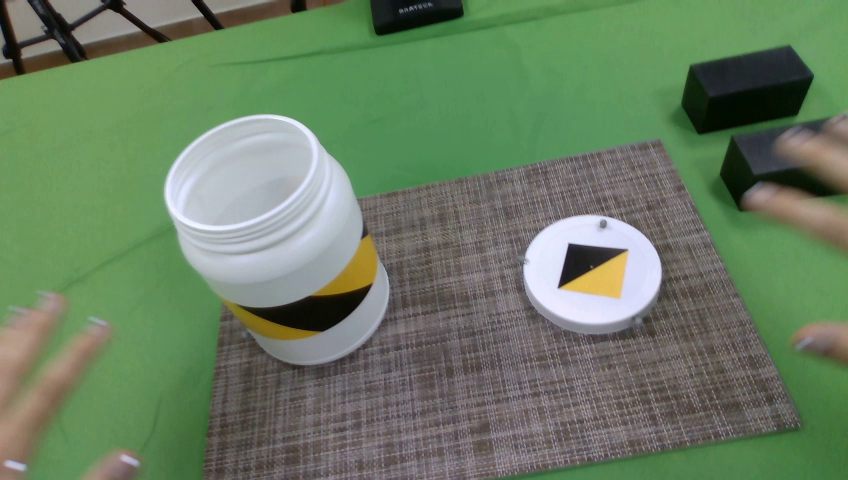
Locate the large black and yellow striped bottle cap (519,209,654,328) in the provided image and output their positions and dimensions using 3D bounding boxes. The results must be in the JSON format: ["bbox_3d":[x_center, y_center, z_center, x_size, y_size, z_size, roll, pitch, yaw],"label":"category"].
[{"bbox_3d":[0.140,0.022,0.525,0.115,0.019,0.114,-5,55,7],"label":"large black and yellow striped bottle cap"}]

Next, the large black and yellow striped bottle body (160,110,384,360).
[{"bbox_3d":[-0.113,0.001,0.483,0.130,0.186,0.129,-5,54,8],"label":"large black and yellow striped bottle body"}]
